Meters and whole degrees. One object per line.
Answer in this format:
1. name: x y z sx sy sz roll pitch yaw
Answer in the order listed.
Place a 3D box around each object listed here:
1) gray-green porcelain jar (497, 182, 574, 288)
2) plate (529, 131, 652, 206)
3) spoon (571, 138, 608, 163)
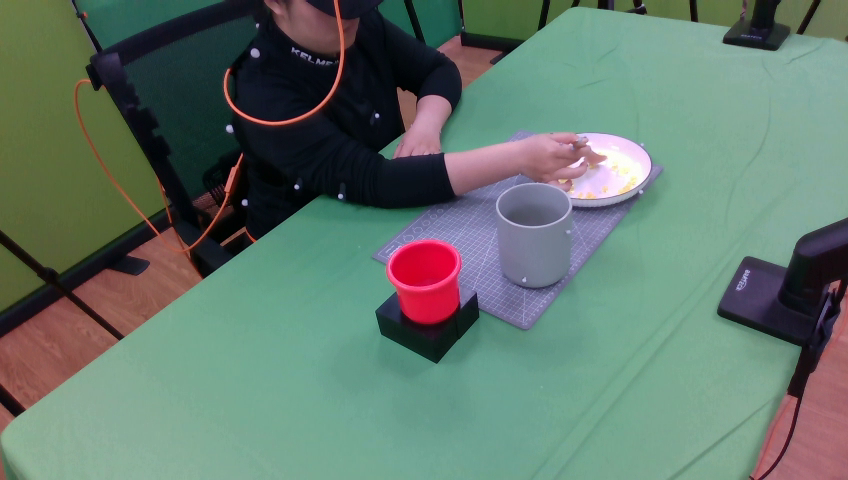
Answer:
1. gray-green porcelain jar: 0.160 -0.003 0.869 0.106 0.127 0.105 -5 40 5
2. plate: 0.287 -0.121 1.056 0.207 0.039 0.206 -5 40 5
3. spoon: 0.268 -0.148 0.996 0.041 0.195 0.021 -1 85 27
